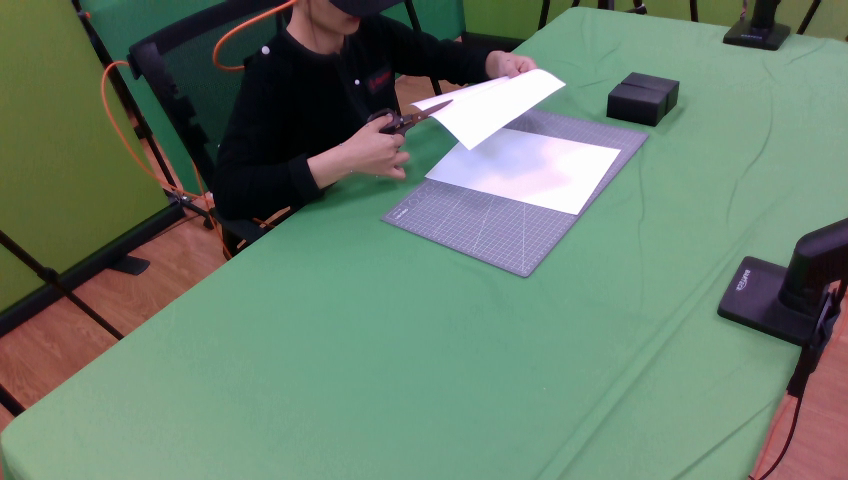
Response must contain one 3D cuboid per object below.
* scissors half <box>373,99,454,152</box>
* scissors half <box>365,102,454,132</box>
[{"bbox_3d":[-0.017,-0.217,1.129,0.175,0.040,0.012,-35,28,-4],"label":"scissors half"},{"bbox_3d":[-0.025,-0.235,1.119,0.176,0.040,0.012,-14,29,-15],"label":"scissors half"}]
